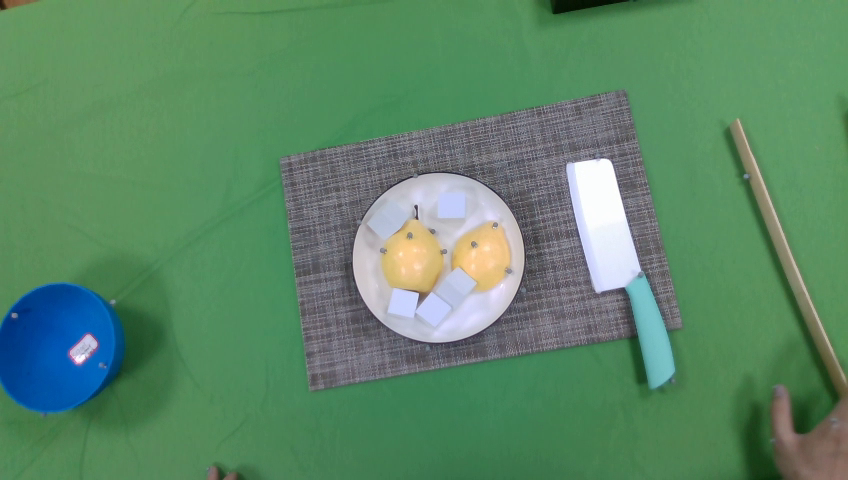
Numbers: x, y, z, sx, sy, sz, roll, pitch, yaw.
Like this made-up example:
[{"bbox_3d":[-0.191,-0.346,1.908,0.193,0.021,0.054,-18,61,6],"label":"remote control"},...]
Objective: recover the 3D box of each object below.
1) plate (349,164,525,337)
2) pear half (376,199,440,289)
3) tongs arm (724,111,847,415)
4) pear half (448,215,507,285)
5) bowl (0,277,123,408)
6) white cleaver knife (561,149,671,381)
[{"bbox_3d":[0.016,0.013,0.729,0.207,0.039,0.207,-1,81,5],"label":"plate"},{"bbox_3d":[-0.019,0.000,0.720,0.076,0.056,0.109,0,77,1],"label":"pear half"},{"bbox_3d":[0.428,0.028,0.699,0.028,0.028,0.386,-18,80,0],"label":"tongs arm"},{"bbox_3d":[0.065,0.010,0.720,0.070,0.031,0.088,21,89,4],"label":"pear half"},{"bbox_3d":[-0.426,0.123,0.733,0.151,0.077,0.151,-1,81,4],"label":"bowl"},{"bbox_3d":[0.225,0.026,0.723,0.066,0.022,0.285,-16,76,13],"label":"white cleaver knife"}]
